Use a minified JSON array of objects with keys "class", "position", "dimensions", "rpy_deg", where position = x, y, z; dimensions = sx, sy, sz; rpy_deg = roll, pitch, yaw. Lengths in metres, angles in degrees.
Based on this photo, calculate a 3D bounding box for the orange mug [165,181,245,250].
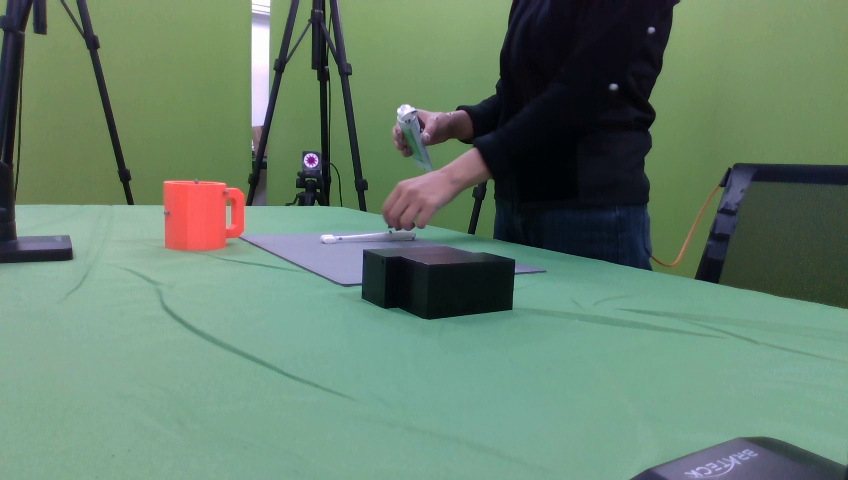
[{"class":"orange mug","position":[-0.326,-0.040,0.911],"dimensions":[0.083,0.101,0.127],"rpy_deg":[8,14,37]}]

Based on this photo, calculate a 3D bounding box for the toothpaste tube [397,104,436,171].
[{"class":"toothpaste tube","position":[-0.015,-0.190,1.133],"dimensions":[0.055,0.034,0.165],"rpy_deg":[36,-17,33]}]

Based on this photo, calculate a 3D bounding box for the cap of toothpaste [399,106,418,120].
[{"class":"cap of toothpaste","position":[-0.028,-0.221,1.050],"dimensions":[0.037,0.011,0.037],"rpy_deg":[-25,-7,-3]}]

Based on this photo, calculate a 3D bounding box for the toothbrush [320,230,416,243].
[{"class":"toothbrush","position":[-0.089,-0.006,1.025],"dimensions":[0.183,0.014,0.016],"rpy_deg":[-3,12,-34]}]
